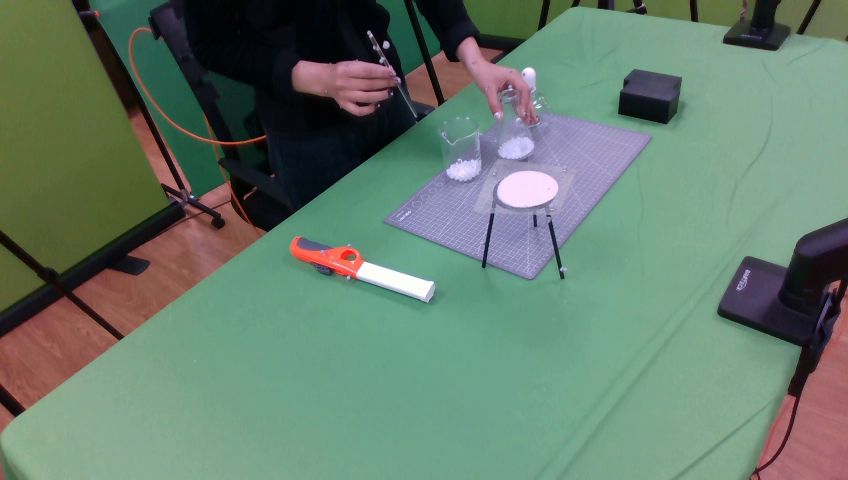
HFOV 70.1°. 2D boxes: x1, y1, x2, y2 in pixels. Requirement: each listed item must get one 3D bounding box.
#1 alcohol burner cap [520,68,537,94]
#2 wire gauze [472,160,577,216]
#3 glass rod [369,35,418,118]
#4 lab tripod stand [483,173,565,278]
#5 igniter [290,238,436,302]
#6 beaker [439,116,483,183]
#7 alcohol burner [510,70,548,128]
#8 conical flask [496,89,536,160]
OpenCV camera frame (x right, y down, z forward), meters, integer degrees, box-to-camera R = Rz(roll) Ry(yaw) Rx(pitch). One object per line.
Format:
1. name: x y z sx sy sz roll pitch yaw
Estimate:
1. alcohol burner cap: 0.205 -0.313 1.183 0.034 0.048 0.033 -3 50 4
2. wire gauze: 0.143 -0.073 0.850 0.121 0.011 0.125 8 43 22
3. glass rod: -0.049 -0.271 1.025 0.008 0.201 0.008 -10 58 18
4. lab tripod stand: 0.151 -0.025 0.896 0.148 0.132 0.147 -7 40 6
5. igniter: -0.106 0.043 0.949 0.274 0.025 0.057 16 57 27
6. beaker: 0.068 -0.160 1.097 0.073 0.101 0.084 7 43 19
7. alcohol burner: 0.209 -0.287 1.207 0.078 0.119 0.077 -5 42 5
8. conical flask: 0.163 -0.212 1.104 0.075 0.122 0.075 -9 39 8
